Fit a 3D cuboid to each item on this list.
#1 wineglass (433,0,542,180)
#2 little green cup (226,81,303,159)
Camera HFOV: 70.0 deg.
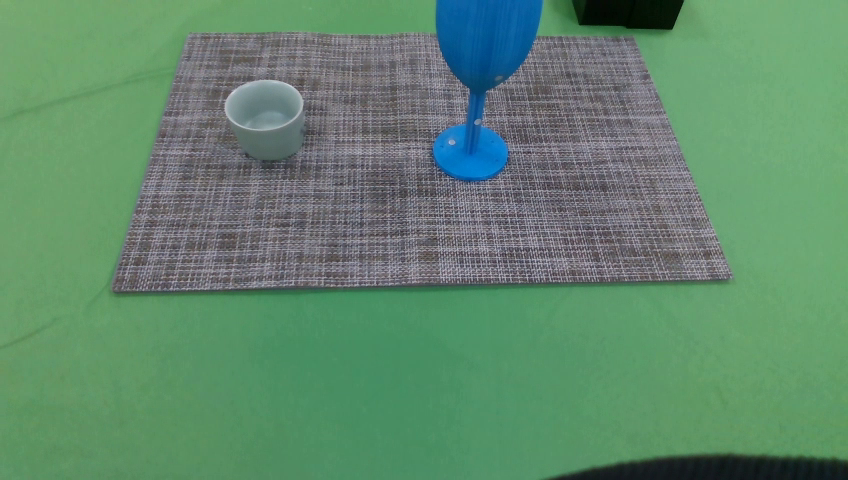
[{"bbox_3d":[0.042,-0.127,0.448,0.074,0.173,0.073,1,53,-1],"label":"wineglass"},{"bbox_3d":[-0.129,-0.098,0.502,0.061,0.039,0.061,1,53,-1],"label":"little green cup"}]
